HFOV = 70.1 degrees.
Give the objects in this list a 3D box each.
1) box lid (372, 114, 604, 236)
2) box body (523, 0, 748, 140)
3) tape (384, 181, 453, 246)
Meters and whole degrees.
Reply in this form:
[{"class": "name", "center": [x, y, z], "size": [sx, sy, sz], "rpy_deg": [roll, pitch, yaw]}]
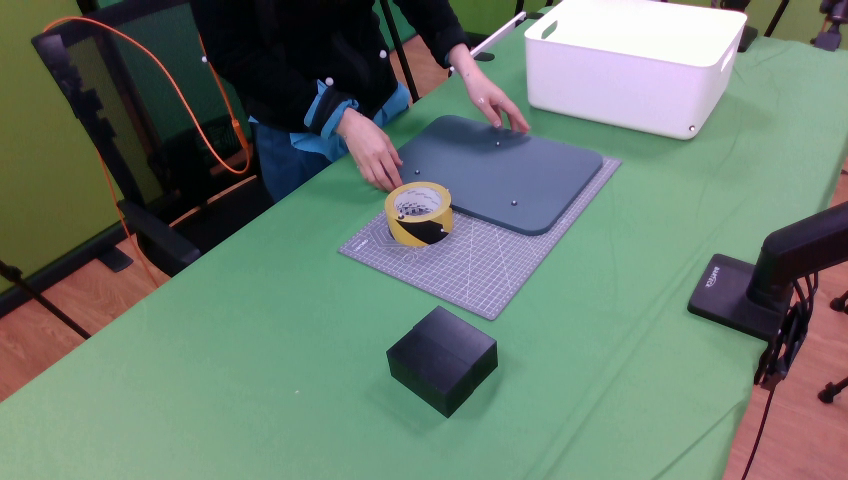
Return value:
[{"class": "box lid", "center": [0.115, -0.133, 1.112], "size": [0.368, 0.015, 0.264], "rpy_deg": [21, 48, 30]}, {"class": "box body", "center": [0.412, -0.354, 1.212], "size": [0.361, 0.161, 0.254], "rpy_deg": [20, 48, 29]}, {"class": "tape", "center": [-0.009, -0.045, 0.994], "size": [0.117, 0.053, 0.116], "rpy_deg": [-4, 40, 4]}]
